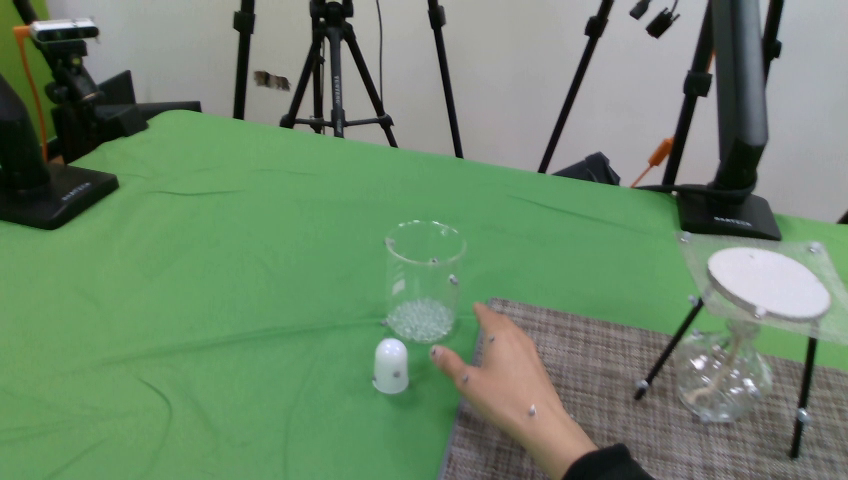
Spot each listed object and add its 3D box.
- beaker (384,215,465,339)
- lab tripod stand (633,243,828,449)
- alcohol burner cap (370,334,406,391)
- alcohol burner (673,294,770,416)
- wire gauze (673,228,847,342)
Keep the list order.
[{"bbox_3d":[0.000,0.036,0.578,0.073,0.101,0.084,21,37,22],"label":"beaker"},{"bbox_3d":[0.263,0.082,0.502,0.148,0.132,0.147,5,34,-3],"label":"lab tripod stand"},{"bbox_3d":[-0.031,0.104,0.526,0.034,0.048,0.033,4,34,-2],"label":"alcohol burner cap"},{"bbox_3d":[0.254,0.090,0.507,0.078,0.120,0.077,4,36,-2],"label":"alcohol burner"},{"bbox_3d":[0.263,0.029,0.461,0.125,0.011,0.120,9,35,5],"label":"wire gauze"}]
